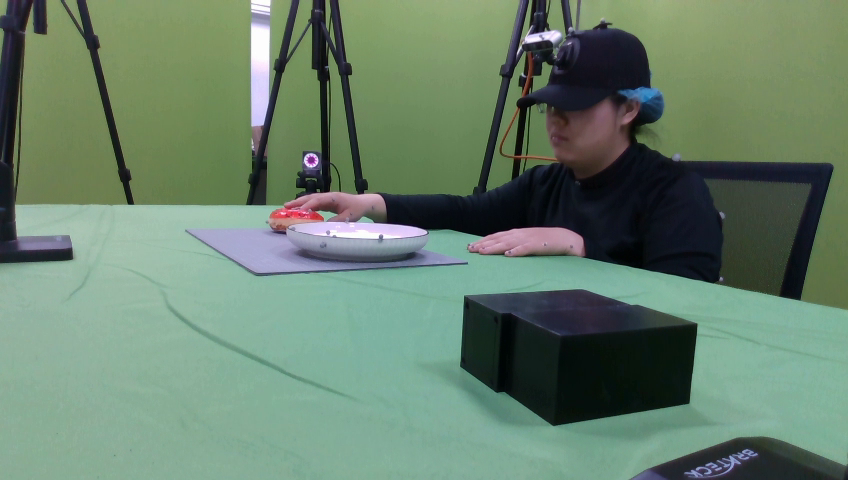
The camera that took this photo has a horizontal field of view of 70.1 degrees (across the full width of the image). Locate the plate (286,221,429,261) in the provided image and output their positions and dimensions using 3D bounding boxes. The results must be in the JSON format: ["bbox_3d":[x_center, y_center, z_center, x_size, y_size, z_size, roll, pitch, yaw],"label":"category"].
[{"bbox_3d":[-0.096,0.001,0.886,0.209,0.038,0.209,2,7,0],"label":"plate"}]

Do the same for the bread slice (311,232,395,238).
[{"bbox_3d":[-0.101,0.002,0.885,0.135,0.018,0.106,-2,8,-38],"label":"bread slice"}]

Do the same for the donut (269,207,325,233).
[{"bbox_3d":[-0.230,-0.035,1.098,0.099,0.048,0.099,3,5,0],"label":"donut"}]
